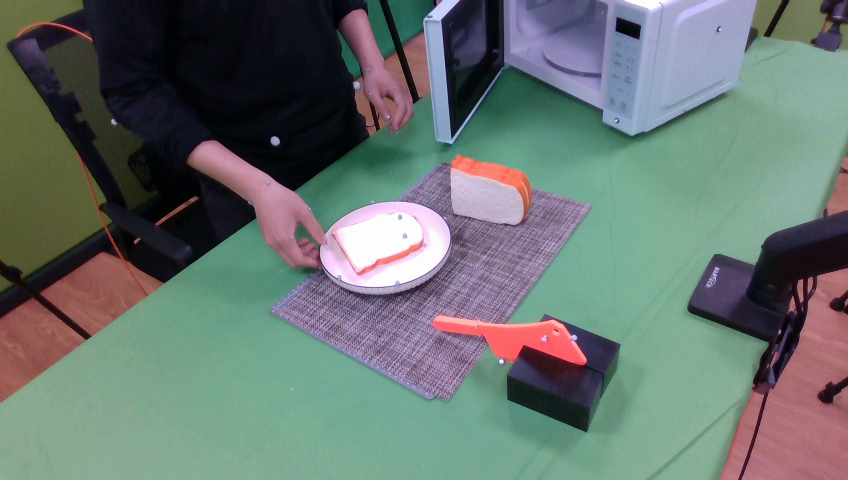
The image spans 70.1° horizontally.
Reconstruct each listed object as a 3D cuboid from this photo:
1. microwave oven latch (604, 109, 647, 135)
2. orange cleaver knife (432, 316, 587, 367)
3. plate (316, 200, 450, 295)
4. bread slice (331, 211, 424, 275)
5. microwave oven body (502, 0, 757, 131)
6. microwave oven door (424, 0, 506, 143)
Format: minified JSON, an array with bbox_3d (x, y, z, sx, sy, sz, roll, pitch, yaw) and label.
[{"bbox_3d":[0.378,-0.225,1.139,0.030,0.029,0.078,-26,43,-20],"label":"microwave oven latch"},{"bbox_3d":[0.101,0.127,0.761,0.210,0.077,0.012,-1,34,40],"label":"orange cleaver knife"},{"bbox_3d":[-0.062,0.015,0.944,0.207,0.039,0.206,-4,41,4],"label":"plate"},{"bbox_3d":[-0.069,-0.001,0.960,0.135,0.018,0.106,-23,46,-21],"label":"bread slice"},{"bbox_3d":[0.396,-0.448,1.248,0.327,0.261,0.437,-27,44,-21],"label":"microwave oven body"},{"bbox_3d":[0.093,-0.392,1.218,0.039,0.245,0.356,11,44,21],"label":"microwave oven door"}]
